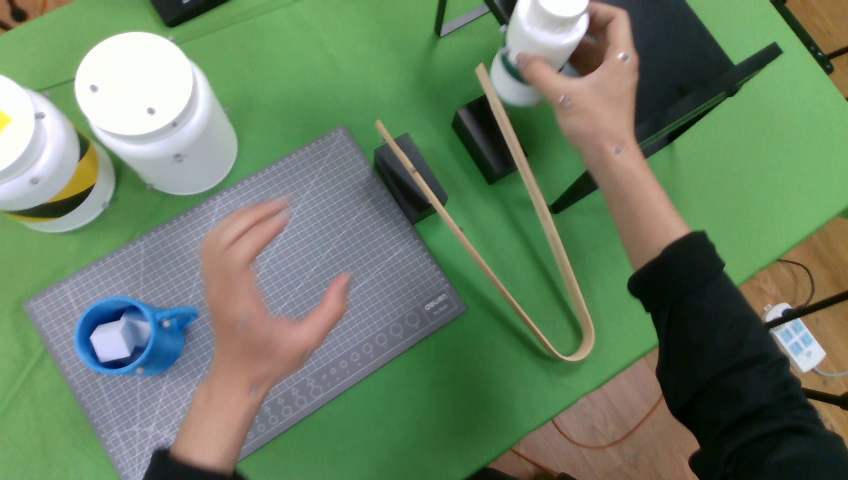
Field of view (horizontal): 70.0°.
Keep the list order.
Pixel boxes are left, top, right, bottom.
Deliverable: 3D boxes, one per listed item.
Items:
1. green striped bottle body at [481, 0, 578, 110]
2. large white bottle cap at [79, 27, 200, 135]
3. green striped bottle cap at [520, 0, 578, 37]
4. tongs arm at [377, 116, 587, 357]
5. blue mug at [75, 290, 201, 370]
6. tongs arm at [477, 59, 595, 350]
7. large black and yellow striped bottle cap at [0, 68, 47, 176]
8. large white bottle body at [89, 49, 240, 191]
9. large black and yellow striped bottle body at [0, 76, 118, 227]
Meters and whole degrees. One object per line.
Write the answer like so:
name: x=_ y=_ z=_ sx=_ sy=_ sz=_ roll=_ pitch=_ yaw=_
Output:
green striped bottle body: x=0.093 y=-0.171 z=0.534 sx=0.063 sy=0.119 sz=0.063 roll=3 pitch=71 yaw=-7
large white bottle cap: x=-0.289 y=-0.163 z=0.617 sx=0.115 sy=0.018 sz=0.114 roll=1 pitch=77 yaw=-6
green striped bottle cap: x=0.100 y=-0.186 z=0.485 sx=0.044 sy=0.020 sz=0.044 roll=2 pitch=72 yaw=-7
tongs arm: x=0.074 y=-0.003 z=0.749 sx=0.051 sy=0.026 sz=0.385 roll=-37 pitch=96 yaw=-14
blue mug: x=-0.311 y=0.098 z=0.686 sx=0.116 sy=0.106 sz=0.082 roll=-24 pitch=81 yaw=-11
tongs arm: x=0.142 y=-0.044 z=0.767 sx=0.028 sy=0.027 sz=0.388 roll=-23 pitch=93 yaw=-18
large black and yellow striped bottle cap: x=-0.435 y=-0.116 z=0.594 sx=0.115 sy=0.019 sz=0.114 roll=2 pitch=78 yaw=-7
large white bottle body: x=-0.296 y=-0.143 z=0.699 sx=0.131 sy=0.185 sz=0.130 roll=1 pitch=78 yaw=-5
large black and yellow striped bottle body: x=-0.442 y=-0.097 z=0.675 sx=0.131 sy=0.184 sz=0.130 roll=1 pitch=77 yaw=-5
